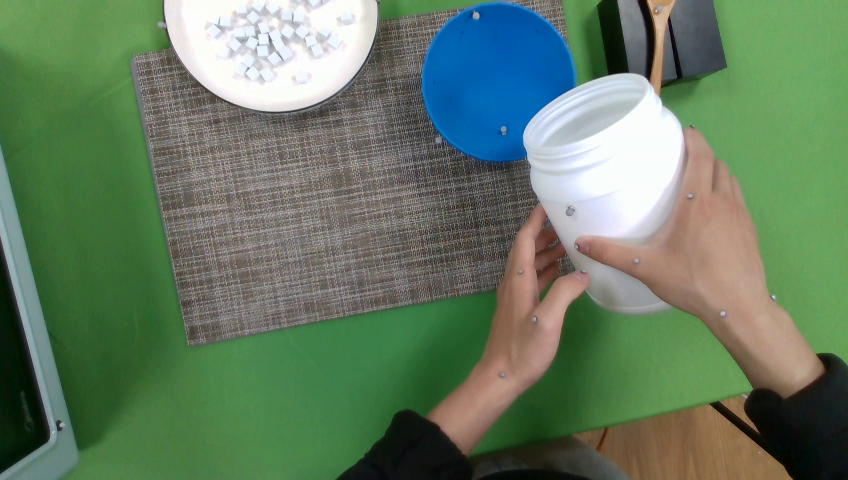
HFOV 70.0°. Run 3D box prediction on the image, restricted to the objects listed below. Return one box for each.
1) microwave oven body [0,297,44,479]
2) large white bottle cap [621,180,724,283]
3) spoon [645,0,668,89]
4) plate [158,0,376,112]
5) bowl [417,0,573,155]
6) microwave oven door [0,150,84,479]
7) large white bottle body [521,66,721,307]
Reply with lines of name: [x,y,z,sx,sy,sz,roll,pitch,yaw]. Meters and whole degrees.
microwave oven body: [-0.536,0.046,0.467,0.326,0.259,0.442,-13,94,-6]
large white bottle cap: [0.277,-0.009,0.673,0.115,0.018,0.115,0,93,-7]
spoon: [0.231,-0.198,0.613,0.042,0.021,0.194,1,98,-8]
plate: [-0.152,-0.229,0.606,0.209,0.038,0.209,0,90,-5]
bowl: [0.065,-0.157,0.611,0.151,0.076,0.151,0,93,-5]
microwave oven door: [-0.384,0.055,0.479,0.039,0.243,0.356,-13,94,-5]
large white bottle body: [0.173,-0.046,0.539,0.130,0.129,0.186,-36,118,-3]
